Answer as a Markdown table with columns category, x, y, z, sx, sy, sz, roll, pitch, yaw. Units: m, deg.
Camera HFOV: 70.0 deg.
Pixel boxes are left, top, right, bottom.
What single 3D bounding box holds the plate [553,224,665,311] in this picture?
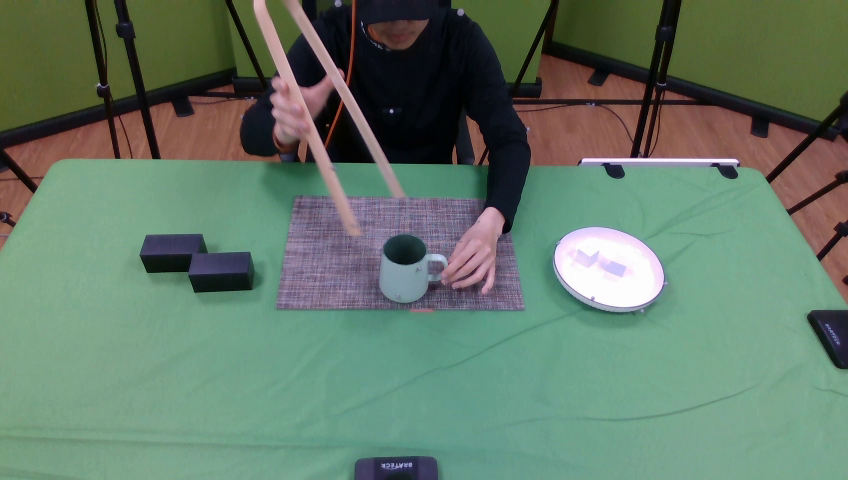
| category | x | y | z | sx | sy | sz | roll | pitch | yaw |
| --- | --- | --- | --- | --- | --- | --- | --- | --- | --- |
| plate | 0.349 | 0.055 | 1.159 | 0.209 | 0.038 | 0.208 | 2 | 47 | -2 |

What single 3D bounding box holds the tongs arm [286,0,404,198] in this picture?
| category | x | y | z | sx | sy | sz | roll | pitch | yaw |
| --- | --- | --- | --- | --- | --- | --- | --- | --- | --- |
| tongs arm | -0.128 | -0.224 | 0.959 | 0.027 | 0.389 | 0.028 | 1 | 40 | 44 |

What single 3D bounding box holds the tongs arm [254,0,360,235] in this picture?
| category | x | y | z | sx | sy | sz | roll | pitch | yaw |
| --- | --- | --- | --- | --- | --- | --- | --- | --- | --- |
| tongs arm | -0.166 | -0.187 | 0.913 | 0.026 | 0.386 | 0.050 | -3 | 28 | 42 |

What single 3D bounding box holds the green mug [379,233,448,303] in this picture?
| category | x | y | z | sx | sy | sz | roll | pitch | yaw |
| --- | --- | --- | --- | --- | --- | --- | --- | --- | --- |
| green mug | -0.019 | 0.050 | 1.085 | 0.125 | 0.105 | 0.092 | 0 | 46 | -4 |
